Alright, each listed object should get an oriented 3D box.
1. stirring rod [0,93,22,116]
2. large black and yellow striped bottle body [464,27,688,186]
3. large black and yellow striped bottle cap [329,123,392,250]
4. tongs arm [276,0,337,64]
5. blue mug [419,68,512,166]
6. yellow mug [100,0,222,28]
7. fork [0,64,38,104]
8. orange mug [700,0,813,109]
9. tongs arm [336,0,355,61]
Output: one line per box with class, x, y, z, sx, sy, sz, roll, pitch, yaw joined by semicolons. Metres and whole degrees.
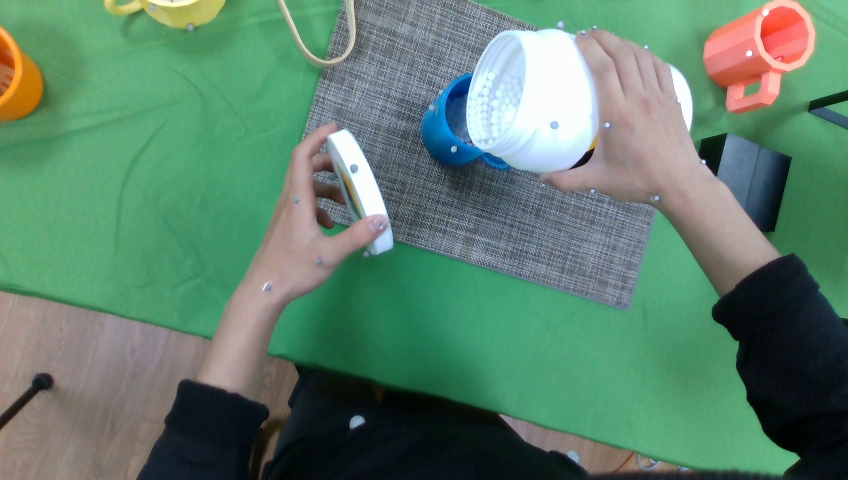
stirring rod;-0.456;-0.167;0.552;0.006;0.178;0.014;7;70;31
large black and yellow striped bottle body;0.143;-0.128;0.589;0.185;0.130;0.130;7;89;-26
large black and yellow striped bottle cap;-0.058;-0.047;0.540;0.019;0.114;0.115;-21;94;-12
tongs arm;-0.186;-0.372;0.643;0.051;0.026;0.386;-23;102;-14
blue mug;0.056;-0.125;0.680;0.117;0.105;0.082;43;82;-9
yellow mug;-0.276;-0.274;0.630;0.131;0.064;0.100;-36;98;-9
fork;-0.458;-0.187;0.549;0.028;0.018;0.209;-62;144;-6
orange mug;0.416;-0.233;0.765;0.084;0.100;0.126;7;85;-12
tongs arm;-0.108;-0.397;0.663;0.028;0.027;0.388;-9;99;-20
